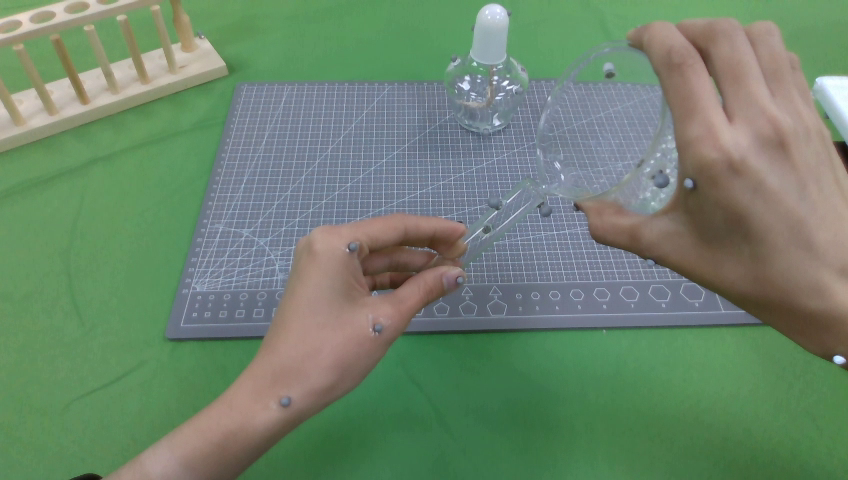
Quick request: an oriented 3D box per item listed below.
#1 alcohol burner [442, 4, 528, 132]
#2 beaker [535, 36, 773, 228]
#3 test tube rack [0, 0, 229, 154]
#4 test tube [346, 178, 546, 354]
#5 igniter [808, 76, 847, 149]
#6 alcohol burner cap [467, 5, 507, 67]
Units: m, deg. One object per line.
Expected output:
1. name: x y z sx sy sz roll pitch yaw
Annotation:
1. alcohol burner: 0.056 -0.156 0.541 0.078 0.120 0.077 1 51 -1
2. beaker: 0.116 -0.045 0.305 0.101 0.084 0.073 10 44 -33
3. test tube rack: -0.321 -0.167 0.570 0.242 0.086 0.066 -26 55 -21
4. test tube: 0.007 0.019 0.337 0.150 0.017 0.017 -42 48 23
5. igniter: 0.347 -0.035 0.441 0.057 0.025 0.274 0 48 5
6. alcohol burner cap: 0.056 -0.177 0.518 0.034 0.048 0.033 2 49 -2
